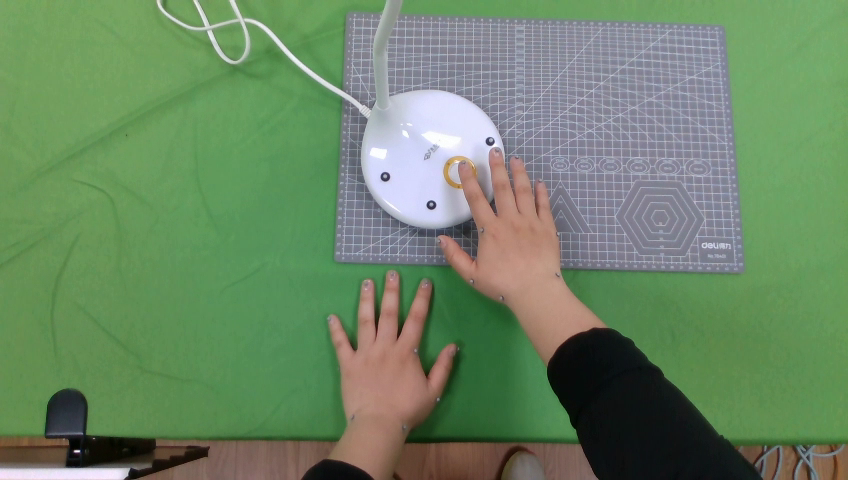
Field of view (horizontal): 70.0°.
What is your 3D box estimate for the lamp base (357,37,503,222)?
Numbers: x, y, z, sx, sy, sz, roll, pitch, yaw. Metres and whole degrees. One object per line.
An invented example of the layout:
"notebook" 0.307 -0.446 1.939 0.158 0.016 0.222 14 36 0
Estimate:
"lamp base" -0.003 -0.118 0.595 0.179 0.181 0.160 28 80 7
